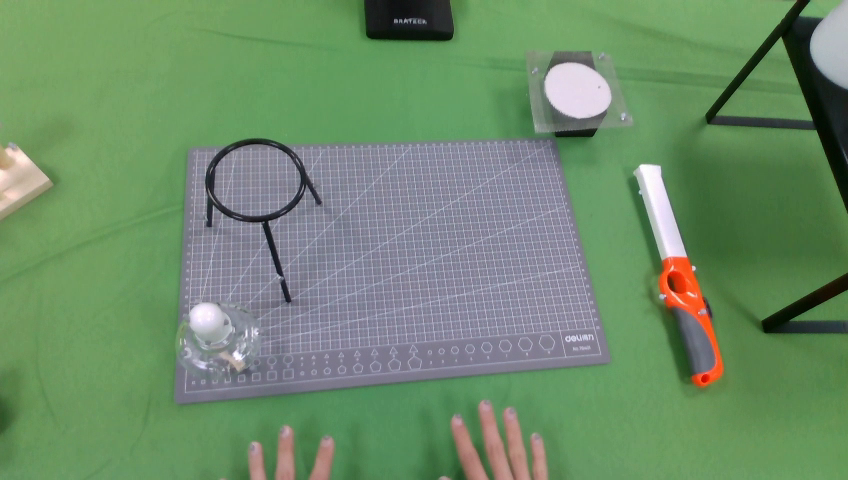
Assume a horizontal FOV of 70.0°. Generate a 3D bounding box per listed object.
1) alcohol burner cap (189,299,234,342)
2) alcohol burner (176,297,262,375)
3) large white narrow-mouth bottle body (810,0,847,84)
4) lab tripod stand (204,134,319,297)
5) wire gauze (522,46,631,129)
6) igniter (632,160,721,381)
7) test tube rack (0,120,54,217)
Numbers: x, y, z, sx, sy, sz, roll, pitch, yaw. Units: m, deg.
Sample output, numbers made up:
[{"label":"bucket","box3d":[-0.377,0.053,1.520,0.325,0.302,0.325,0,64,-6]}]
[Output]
[{"label":"alcohol burner cap","box3d":[-0.188,0.069,0.532,0.034,0.048,0.033,2,70,-6]},{"label":"alcohol burner","box3d":[-0.193,0.084,0.565,0.078,0.120,0.077,4,62,-7]},{"label":"large white narrow-mouth bottle body","box3d":[0.465,-0.241,0.564,0.102,0.196,0.101,3,64,-6]},{"label":"lab tripod stand","box3d":[-0.159,-0.030,0.612,0.149,0.132,0.147,4,65,-8]},{"label":"wire gauze","box3d":[0.188,-0.193,0.755,0.122,0.011,0.124,-2,65,-8]},{"label":"igniter","box3d":[0.292,0.027,0.707,0.057,0.025,0.274,2,64,-18]},{"label":"test tube rack","box3d":[-0.511,-0.028,0.595,0.066,0.086,0.242,41,66,13]}]
